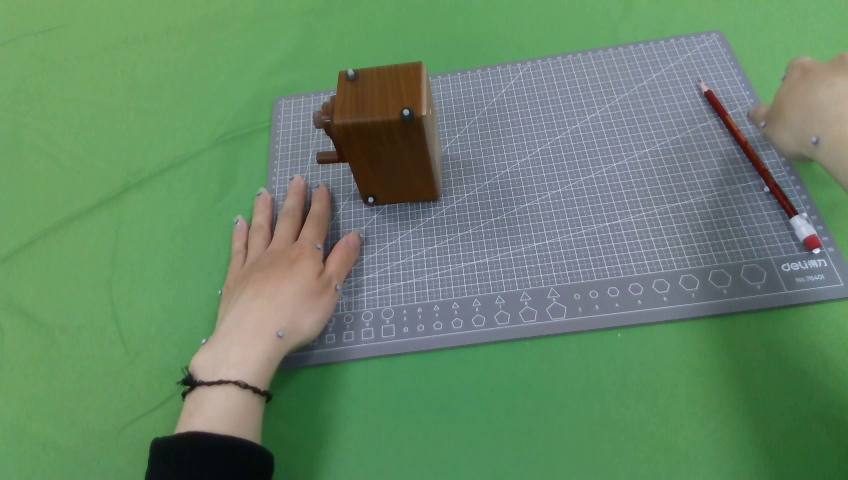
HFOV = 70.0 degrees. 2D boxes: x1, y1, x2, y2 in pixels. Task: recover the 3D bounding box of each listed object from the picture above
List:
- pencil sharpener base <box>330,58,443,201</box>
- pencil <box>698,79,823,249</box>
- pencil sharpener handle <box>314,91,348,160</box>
[{"bbox_3d":[-0.028,-0.087,0.498,0.076,0.108,0.061,-4,57,7],"label":"pencil sharpener base"},{"bbox_3d":[0.271,-0.071,0.501,0.012,0.012,0.192,-14,55,0],"label":"pencil"},{"bbox_3d":[-0.080,-0.089,0.493,0.030,0.068,0.035,-4,56,7],"label":"pencil sharpener handle"}]
